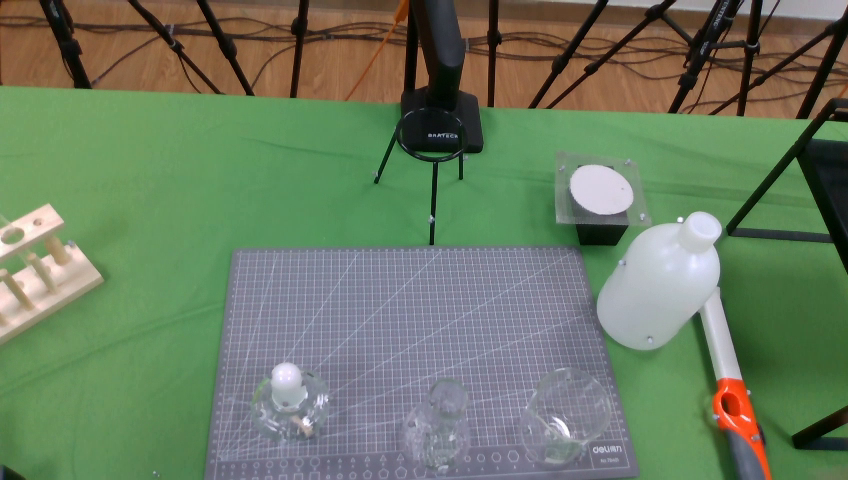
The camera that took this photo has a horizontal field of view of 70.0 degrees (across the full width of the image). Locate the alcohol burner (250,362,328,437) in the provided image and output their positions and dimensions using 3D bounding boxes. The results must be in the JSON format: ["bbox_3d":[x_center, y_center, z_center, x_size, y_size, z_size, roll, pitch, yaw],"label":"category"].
[{"bbox_3d":[-0.134,0.151,0.602,0.078,0.120,0.077,5,54,-6],"label":"alcohol burner"}]

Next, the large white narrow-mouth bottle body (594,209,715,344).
[{"bbox_3d":[0.266,0.035,0.685,0.102,0.196,0.101,3,55,-4],"label":"large white narrow-mouth bottle body"}]

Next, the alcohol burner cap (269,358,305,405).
[{"bbox_3d":[-0.131,0.131,0.572,0.034,0.048,0.033,2,50,-2],"label":"alcohol burner cap"}]

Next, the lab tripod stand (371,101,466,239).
[{"bbox_3d":[0.002,-0.096,0.779,0.148,0.132,0.147,4,56,-6],"label":"lab tripod stand"}]

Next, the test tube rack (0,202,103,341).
[{"bbox_3d":[-0.482,0.067,0.636,0.066,0.086,0.242,41,61,20],"label":"test tube rack"}]

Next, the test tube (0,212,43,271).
[{"bbox_3d":[-0.441,-0.013,0.635,0.017,0.151,0.017,1,54,-1],"label":"test tube"}]

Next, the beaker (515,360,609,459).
[{"bbox_3d":[0.134,0.179,0.624,0.084,0.101,0.073,-3,56,-8],"label":"beaker"}]

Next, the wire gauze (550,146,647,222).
[{"bbox_3d":[0.230,-0.075,0.809,0.121,0.011,0.124,6,55,-3],"label":"wire gauze"}]

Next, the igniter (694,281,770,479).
[{"bbox_3d":[0.354,0.167,0.708,0.057,0.025,0.274,11,54,-12],"label":"igniter"}]

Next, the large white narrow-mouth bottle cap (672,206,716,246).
[{"bbox_3d":[0.274,-0.014,0.616,0.038,0.024,0.037,3,55,-4],"label":"large white narrow-mouth bottle cap"}]

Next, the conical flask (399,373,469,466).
[{"bbox_3d":[0.015,0.172,0.601,0.075,0.123,0.074,3,55,-4],"label":"conical flask"}]
